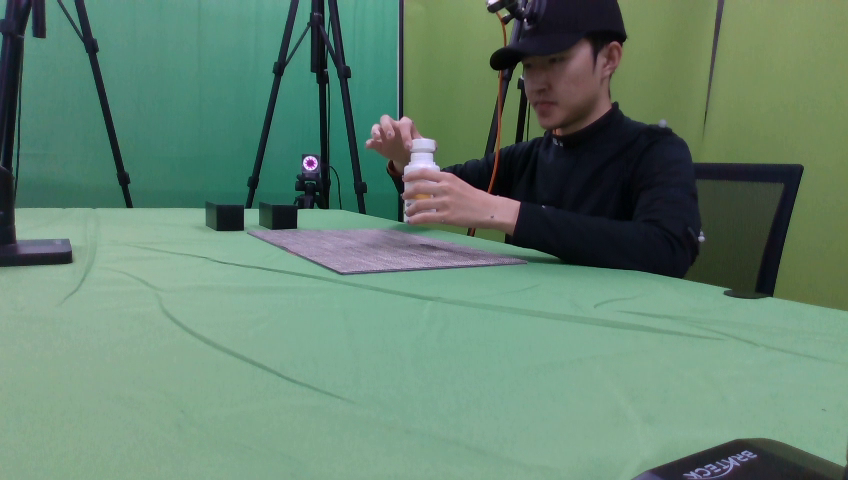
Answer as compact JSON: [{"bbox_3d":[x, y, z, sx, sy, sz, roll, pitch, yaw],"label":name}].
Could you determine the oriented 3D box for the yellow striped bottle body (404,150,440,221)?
[{"bbox_3d":[-0.004,-0.092,1.033,0.063,0.120,0.063,0,2,0],"label":"yellow striped bottle body"}]

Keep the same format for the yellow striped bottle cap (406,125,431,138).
[{"bbox_3d":[-0.009,-0.186,1.037,0.044,0.018,0.044,-2,6,1],"label":"yellow striped bottle cap"}]
